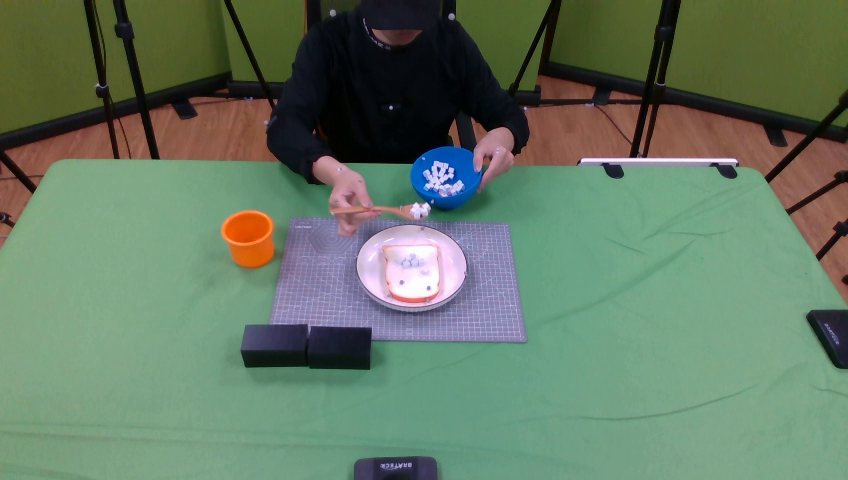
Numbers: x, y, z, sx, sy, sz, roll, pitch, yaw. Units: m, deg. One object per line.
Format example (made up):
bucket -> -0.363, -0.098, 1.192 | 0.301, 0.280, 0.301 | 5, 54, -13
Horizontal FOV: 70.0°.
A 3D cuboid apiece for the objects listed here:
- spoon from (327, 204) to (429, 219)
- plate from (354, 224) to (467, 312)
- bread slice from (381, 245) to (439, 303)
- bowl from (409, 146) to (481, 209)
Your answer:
spoon -> -0.079, -0.053, 1.076 | 0.194, 0.022, 0.041 | 1, 44, -31
plate -> -0.025, 0.055, 1.128 | 0.209, 0.038, 0.208 | 3, 46, -2
bread slice -> -0.022, 0.061, 1.126 | 0.107, 0.018, 0.133 | -3, 45, -8
bowl -> 0.047, -0.118, 1.268 | 0.151, 0.077, 0.150 | -5, 51, 6
